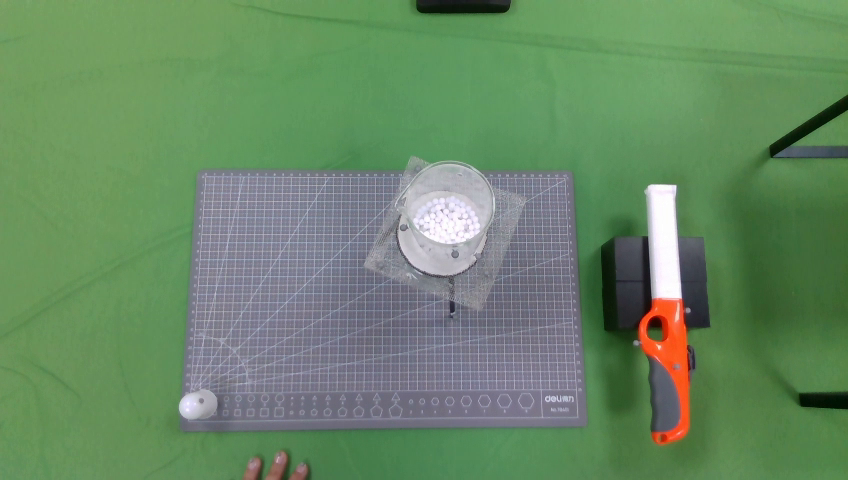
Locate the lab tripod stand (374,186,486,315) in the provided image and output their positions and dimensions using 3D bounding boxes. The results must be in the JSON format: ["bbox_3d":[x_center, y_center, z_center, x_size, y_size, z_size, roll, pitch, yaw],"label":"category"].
[{"bbox_3d":[0.015,0.000,0.647,0.148,0.132,0.147,0,76,-1],"label":"lab tripod stand"}]

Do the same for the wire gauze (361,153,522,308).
[{"bbox_3d":[0.019,-0.011,0.582,0.121,0.011,0.124,23,75,1],"label":"wire gauze"}]

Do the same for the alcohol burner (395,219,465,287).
[{"bbox_3d":[0.007,0.011,0.654,0.078,0.119,0.077,0,80,0],"label":"alcohol burner"}]

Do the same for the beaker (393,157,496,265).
[{"bbox_3d":[0.016,-0.020,0.535,0.084,0.100,0.073,0,76,-1],"label":"beaker"}]

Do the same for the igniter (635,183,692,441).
[{"bbox_3d":[0.254,0.072,0.649,0.057,0.025,0.275,2,77,2],"label":"igniter"}]

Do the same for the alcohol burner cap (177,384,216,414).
[{"bbox_3d":[-0.247,0.172,0.651,0.034,0.048,0.033,1,79,-2],"label":"alcohol burner cap"}]
